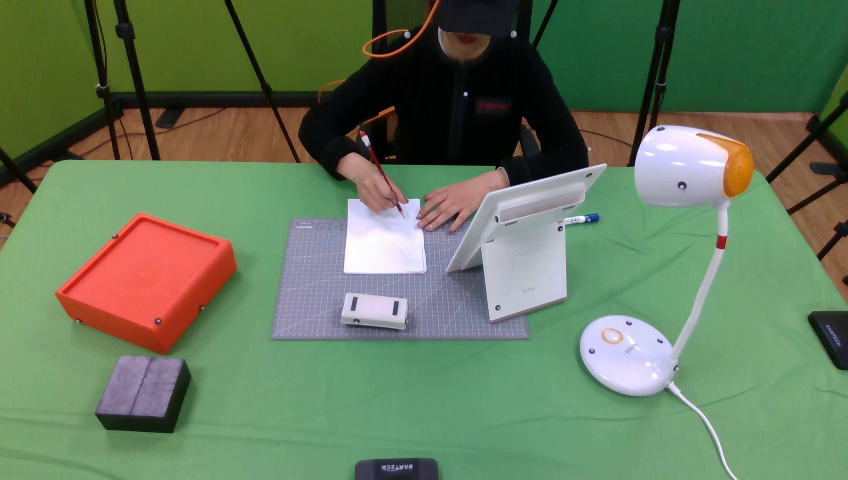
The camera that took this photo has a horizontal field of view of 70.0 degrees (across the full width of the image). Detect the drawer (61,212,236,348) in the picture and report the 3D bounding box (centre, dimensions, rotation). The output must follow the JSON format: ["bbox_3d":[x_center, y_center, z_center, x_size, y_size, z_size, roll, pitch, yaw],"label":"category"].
[{"bbox_3d":[-0.473,0.064,1.060,0.194,0.073,0.211,18,48,11],"label":"drawer"}]

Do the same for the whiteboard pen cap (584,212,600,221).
[{"bbox_3d":[0.351,-0.048,1.271,0.033,0.018,0.018,-6,47,-11],"label":"whiteboard pen cap"}]

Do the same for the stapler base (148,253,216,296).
[{"bbox_3d":[-0.443,0.058,1.108,0.130,0.024,0.041,24,52,12],"label":"stapler base"}]

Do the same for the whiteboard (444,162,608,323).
[{"bbox_3d":[0.186,0.026,1.028,0.217,0.306,0.143,-14,68,-17],"label":"whiteboard"}]

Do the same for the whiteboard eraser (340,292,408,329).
[{"bbox_3d":[-0.087,0.125,1.052,0.113,0.042,0.055,5,45,1],"label":"whiteboard eraser"}]

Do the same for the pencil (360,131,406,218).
[{"bbox_3d":[-0.080,-0.129,1.207,0.012,0.194,0.012,-25,15,7],"label":"pencil"}]

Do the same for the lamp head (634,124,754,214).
[{"bbox_3d":[0.351,-0.089,0.776,0.112,0.113,0.122,-30,30,-28],"label":"lamp head"}]

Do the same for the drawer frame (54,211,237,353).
[{"bbox_3d":[-0.473,0.067,1.055,0.201,0.083,0.212,17,48,11],"label":"drawer frame"}]

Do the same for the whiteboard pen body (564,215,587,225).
[{"bbox_3d":[0.291,-0.040,1.261,0.141,0.017,0.017,-6,47,-11],"label":"whiteboard pen body"}]

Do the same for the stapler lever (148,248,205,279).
[{"bbox_3d":[-0.444,0.038,1.083,0.118,0.040,0.027,19,51,18],"label":"stapler lever"}]

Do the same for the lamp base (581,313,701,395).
[{"bbox_3d":[0.361,0.144,0.973,0.178,0.181,0.160,34,53,23],"label":"lamp base"}]
